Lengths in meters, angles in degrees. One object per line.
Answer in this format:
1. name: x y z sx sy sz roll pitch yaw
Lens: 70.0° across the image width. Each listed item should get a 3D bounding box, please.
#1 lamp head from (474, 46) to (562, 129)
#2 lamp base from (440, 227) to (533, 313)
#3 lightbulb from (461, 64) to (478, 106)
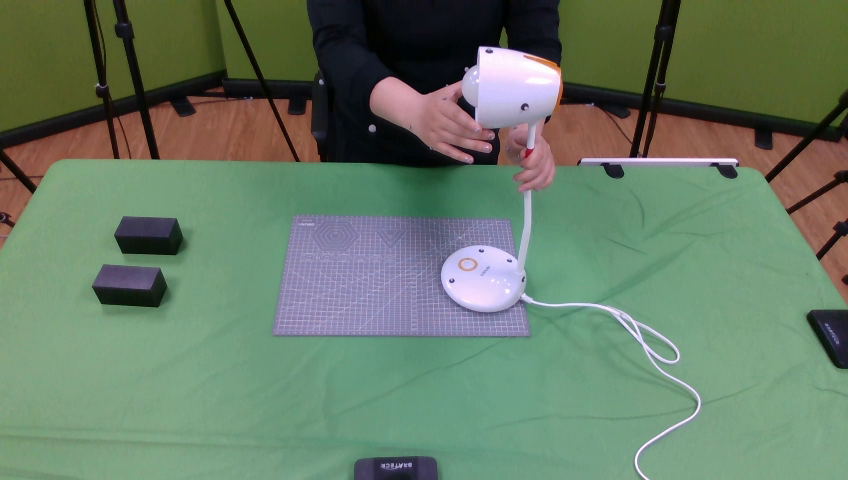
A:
1. lamp head: 0.129 -0.207 0.842 0.123 0.113 0.112 6 45 -1
2. lamp base: 0.126 0.021 1.072 0.179 0.181 0.160 22 49 13
3. lightbulb: 0.106 -0.216 0.851 0.108 0.060 0.059 4 45 -2
